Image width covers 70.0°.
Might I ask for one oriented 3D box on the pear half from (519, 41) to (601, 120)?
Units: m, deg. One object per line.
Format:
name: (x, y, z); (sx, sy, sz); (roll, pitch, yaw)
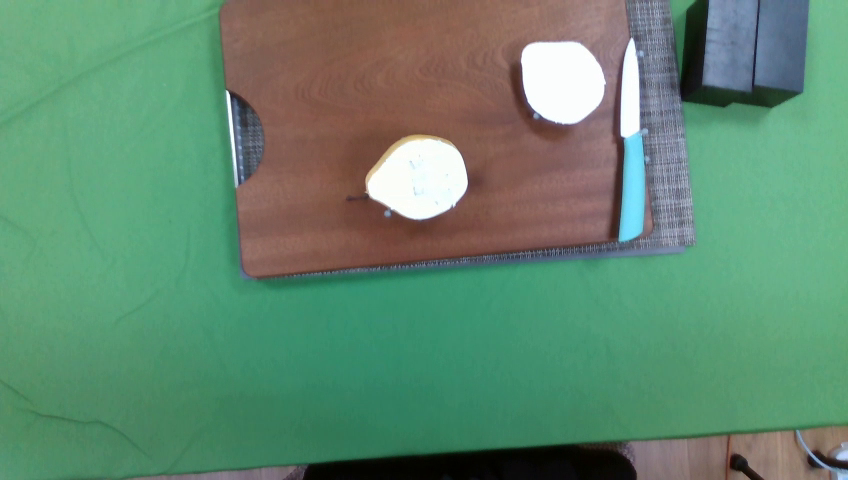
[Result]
pear half: (0.129, -0.155, 0.585); (0.070, 0.031, 0.087); (-45, 76, 10)

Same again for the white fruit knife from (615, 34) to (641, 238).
white fruit knife: (0.201, -0.104, 0.594); (0.027, 0.016, 0.207); (5, 84, -18)

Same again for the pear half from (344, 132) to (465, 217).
pear half: (-0.021, -0.058, 0.559); (0.110, 0.055, 0.076); (-13, 105, -6)
